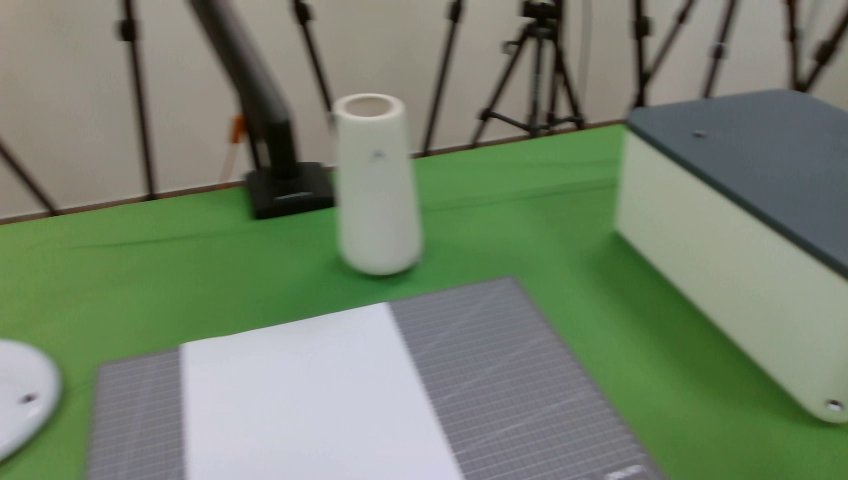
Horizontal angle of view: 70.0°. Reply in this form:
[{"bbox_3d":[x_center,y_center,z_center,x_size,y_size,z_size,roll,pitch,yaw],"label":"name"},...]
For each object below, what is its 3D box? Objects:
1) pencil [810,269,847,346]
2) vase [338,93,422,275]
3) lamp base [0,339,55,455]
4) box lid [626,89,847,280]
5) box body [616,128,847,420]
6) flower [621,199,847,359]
[{"bbox_3d":[0.437,0.097,0.628,0.012,0.012,0.192,5,41,7],"label":"pencil"},{"bbox_3d":[-0.053,-0.059,0.683,0.098,0.201,0.097,-1,35,1],"label":"vase"},{"bbox_3d":[-0.426,0.082,0.495,0.177,0.182,0.160,24,41,33],"label":"lamp base"},{"bbox_3d":[0.405,-0.069,0.599,0.264,0.015,0.367,-11,36,-14],"label":"box lid"},{"bbox_3d":[0.406,-0.009,0.645,0.255,0.162,0.360,-11,37,-15],"label":"box body"},{"bbox_3d":[0.369,0.057,0.679,0.358,0.038,0.044,43,16,35],"label":"flower"}]
